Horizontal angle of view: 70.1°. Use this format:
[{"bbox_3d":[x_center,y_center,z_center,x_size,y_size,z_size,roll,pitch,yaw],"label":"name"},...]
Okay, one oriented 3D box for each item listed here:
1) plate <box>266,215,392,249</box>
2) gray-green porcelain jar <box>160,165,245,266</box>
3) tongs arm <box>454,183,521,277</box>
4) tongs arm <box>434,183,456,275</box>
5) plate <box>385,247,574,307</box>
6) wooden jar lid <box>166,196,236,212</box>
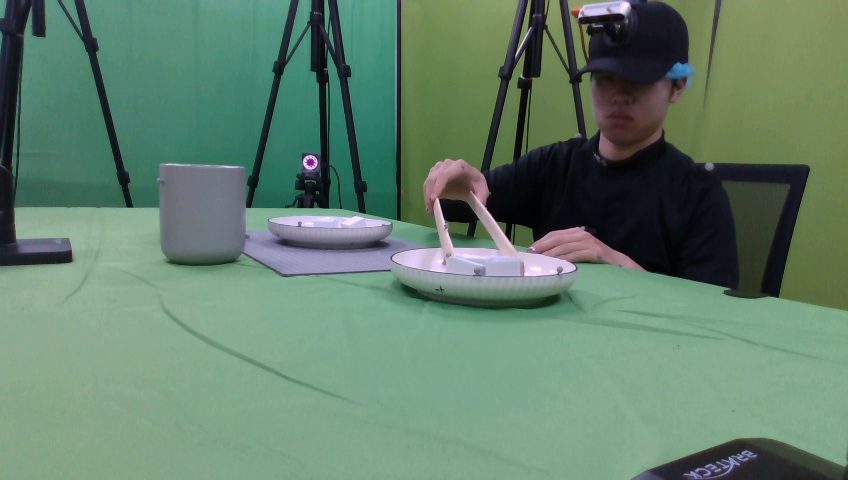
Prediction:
[{"bbox_3d":[-0.159,-0.015,1.019,0.209,0.038,0.209,3,7,0],"label":"plate"},{"bbox_3d":[-0.291,-0.034,0.799,0.106,0.126,0.106,2,8,0],"label":"gray-green porcelain jar"},{"bbox_3d":[0.080,-0.023,0.819,0.028,0.028,0.386,-3,18,-4],"label":"tongs arm"},{"bbox_3d":[0.039,-0.024,0.816,0.051,0.026,0.384,0,18,-4],"label":"tongs arm"},{"bbox_3d":[0.060,0.041,0.678,0.208,0.039,0.207,3,7,0],"label":"plate"},{"bbox_3d":[-0.369,-0.060,1.001,0.108,0.020,0.108,3,6,0],"label":"wooden jar lid"}]
